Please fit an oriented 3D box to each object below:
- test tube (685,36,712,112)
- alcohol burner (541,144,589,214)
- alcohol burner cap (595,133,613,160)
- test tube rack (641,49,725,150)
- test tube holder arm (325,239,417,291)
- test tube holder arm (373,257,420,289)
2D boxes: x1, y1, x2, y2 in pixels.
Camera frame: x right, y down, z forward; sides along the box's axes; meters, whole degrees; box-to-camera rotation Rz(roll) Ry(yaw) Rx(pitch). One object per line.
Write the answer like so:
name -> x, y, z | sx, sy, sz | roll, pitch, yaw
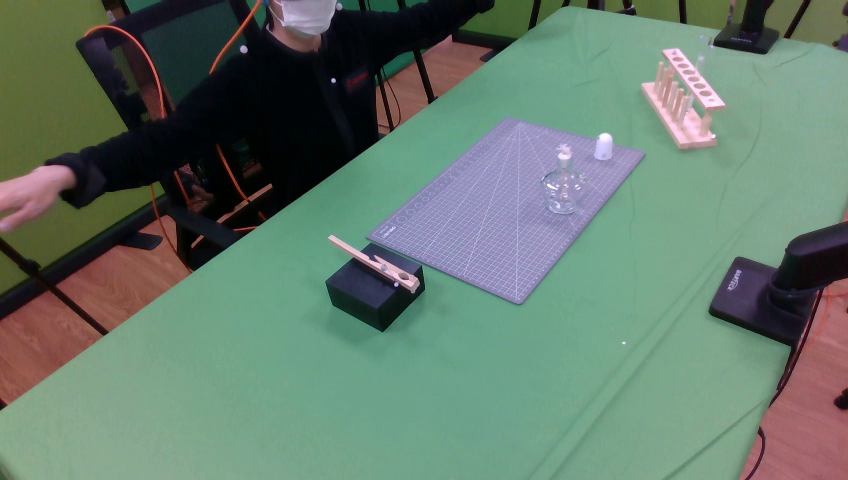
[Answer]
test tube -> 0.509, -0.307, 1.129 | 0.017, 0.151, 0.017 | -1, 43, 2
alcohol burner -> 0.229, -0.102, 0.983 | 0.078, 0.119, 0.077 | -6, 41, 5
alcohol burner cap -> 0.330, -0.172, 1.104 | 0.034, 0.048, 0.033 | -5, 41, 5
test tube rack -> 0.495, -0.279, 1.175 | 0.067, 0.085, 0.241 | -5, 41, 3
test tube holder arm -> -0.080, 0.034, 0.875 | 0.177, 0.015, 0.013 | 23, 50, 32
test tube holder arm -> -0.042, 0.045, 0.854 | 0.087, 0.015, 0.010 | 24, 51, 33
